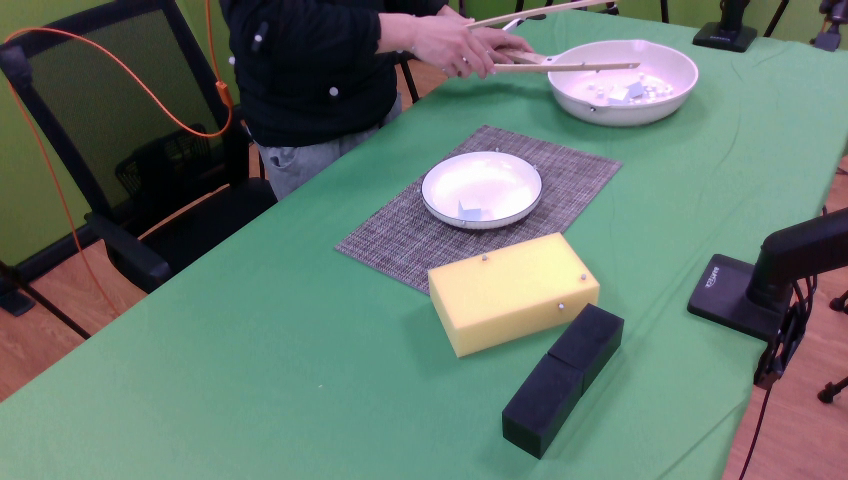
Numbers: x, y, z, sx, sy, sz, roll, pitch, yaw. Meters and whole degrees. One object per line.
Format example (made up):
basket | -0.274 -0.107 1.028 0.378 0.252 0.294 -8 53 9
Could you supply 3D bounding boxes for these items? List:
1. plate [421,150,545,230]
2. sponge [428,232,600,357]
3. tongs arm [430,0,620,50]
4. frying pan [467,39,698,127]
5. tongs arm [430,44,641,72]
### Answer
plate | 0.100 -0.082 1.031 0.207 0.039 0.206 -4 40 4
sponge | 0.120 0.071 0.834 0.207 0.061 0.117 -16 43 -12
tongs arm | 0.190 -0.395 1.080 0.389 0.028 0.027 -17 1 -14
frying pan | 0.312 -0.359 1.277 0.485 0.103 0.307 23 48 19
tongs arm | 0.203 -0.323 1.072 0.386 0.050 0.026 -6 -5 -13
